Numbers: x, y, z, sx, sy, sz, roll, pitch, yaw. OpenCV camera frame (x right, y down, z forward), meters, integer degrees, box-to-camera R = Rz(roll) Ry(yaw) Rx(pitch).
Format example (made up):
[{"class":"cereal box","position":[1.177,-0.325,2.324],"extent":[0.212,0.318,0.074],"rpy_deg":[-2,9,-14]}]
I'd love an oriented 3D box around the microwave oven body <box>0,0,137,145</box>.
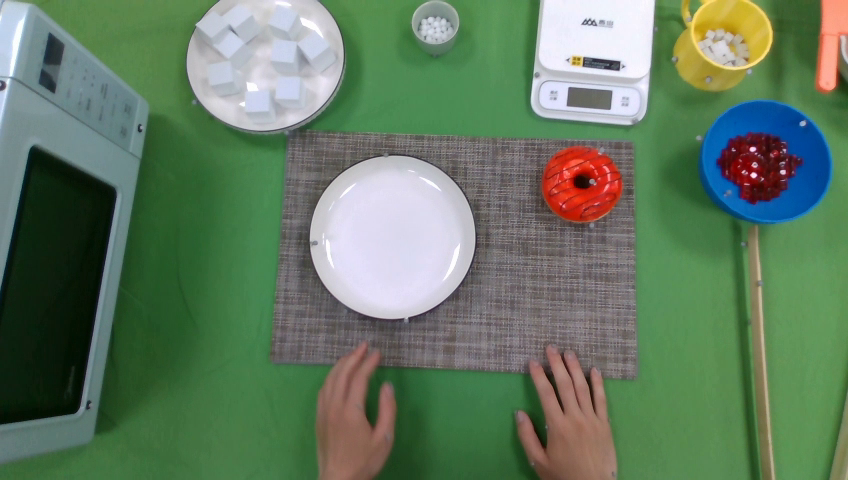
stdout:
[{"class":"microwave oven body","position":[-0.543,-0.010,0.654],"extent":[0.326,0.261,0.440],"rpy_deg":[5,81,2]}]

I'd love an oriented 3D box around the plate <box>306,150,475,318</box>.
[{"class":"plate","position":[-0.041,-0.007,0.753],"extent":[0.209,0.038,0.208],"rpy_deg":[0,80,2]}]

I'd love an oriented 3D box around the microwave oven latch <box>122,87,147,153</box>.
[{"class":"microwave oven latch","position":[-0.375,-0.153,0.771],"extent":[0.030,0.029,0.079],"rpy_deg":[6,81,2]}]

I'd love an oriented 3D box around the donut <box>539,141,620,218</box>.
[{"class":"donut","position":[0.192,-0.075,0.755],"extent":[0.099,0.048,0.098],"rpy_deg":[-1,81,4]}]

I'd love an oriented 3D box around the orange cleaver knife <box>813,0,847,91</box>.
[{"class":"orange cleaver knife","position":[0.509,-0.280,0.737],"extent":[0.077,0.012,0.210],"rpy_deg":[7,81,5]}]

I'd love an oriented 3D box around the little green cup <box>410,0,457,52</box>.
[{"class":"little green cup","position":[0.013,-0.282,0.802],"extent":[0.061,0.039,0.061],"rpy_deg":[0,80,2]}]

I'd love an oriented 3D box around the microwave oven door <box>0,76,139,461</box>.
[{"class":"microwave oven door","position":[-0.401,0.043,0.636],"extent":[0.039,0.244,0.354],"rpy_deg":[5,80,3]}]

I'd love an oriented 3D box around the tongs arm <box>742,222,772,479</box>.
[{"class":"tongs arm","position":[0.412,0.169,0.717],"extent":[0.051,0.026,0.383],"rpy_deg":[3,81,-4]}]

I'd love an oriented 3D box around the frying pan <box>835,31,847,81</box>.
[{"class":"frying pan","position":[0.688,-0.191,0.735],"extent":[0.307,0.103,0.484],"rpy_deg":[-24,72,-1]}]

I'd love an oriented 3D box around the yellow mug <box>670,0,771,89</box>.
[{"class":"yellow mug","position":[0.368,-0.266,0.775],"extent":[0.100,0.064,0.130],"rpy_deg":[-30,80,-3]}]

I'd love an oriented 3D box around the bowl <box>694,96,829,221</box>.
[{"class":"bowl","position":[0.395,-0.090,0.739],"extent":[0.151,0.077,0.151],"rpy_deg":[0,81,2]}]

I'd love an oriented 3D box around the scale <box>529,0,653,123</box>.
[{"class":"scale","position":[0.220,-0.258,0.795],"extent":[0.148,0.031,0.200],"rpy_deg":[7,81,3]}]

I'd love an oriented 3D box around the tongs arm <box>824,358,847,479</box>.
[{"class":"tongs arm","position":[0.497,0.181,0.719],"extent":[0.028,0.028,0.386],"rpy_deg":[18,81,-5]}]

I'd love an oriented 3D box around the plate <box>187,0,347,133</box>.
[{"class":"plate","position":[-0.204,-0.237,0.800],"extent":[0.207,0.039,0.207],"rpy_deg":[0,80,2]}]
